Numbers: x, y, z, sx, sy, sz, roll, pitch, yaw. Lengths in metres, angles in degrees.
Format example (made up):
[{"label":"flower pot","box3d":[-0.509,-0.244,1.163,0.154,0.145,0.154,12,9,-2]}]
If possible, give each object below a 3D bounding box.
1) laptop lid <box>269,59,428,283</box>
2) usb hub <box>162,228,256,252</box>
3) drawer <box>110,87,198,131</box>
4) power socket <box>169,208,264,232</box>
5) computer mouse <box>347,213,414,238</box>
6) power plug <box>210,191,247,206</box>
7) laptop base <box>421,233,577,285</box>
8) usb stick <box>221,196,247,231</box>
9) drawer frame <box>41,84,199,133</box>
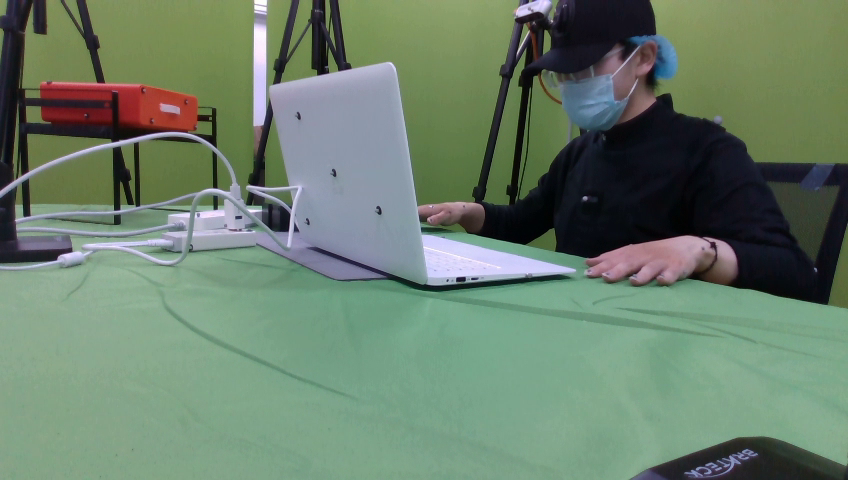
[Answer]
[{"label":"laptop lid","box3d":[-0.110,-0.087,0.752,0.013,0.241,0.355,-18,19,-30]},{"label":"usb hub","box3d":[-0.315,0.000,0.893,0.049,0.025,0.126,9,10,41]},{"label":"drawer","box3d":[-0.602,-0.263,1.225,0.211,0.073,0.195,3,8,10]},{"label":"power socket","box3d":[-0.381,-0.038,1.128,0.072,0.032,0.227,4,8,17]},{"label":"computer mouse","box3d":[-0.079,-0.025,1.080,0.117,0.041,0.062,-5,11,-18]},{"label":"power plug","box3d":[-0.386,-0.071,1.204,0.072,0.052,0.035,8,11,25]},{"label":"laptop base","box3d":[0.007,0.022,0.850,0.237,0.023,0.352,1,7,-34]},{"label":"usb stick","box3d":[-0.290,-0.035,0.920,0.027,0.059,0.021,14,3,32]},{"label":"drawer frame","box3d":[-0.604,-0.264,1.225,0.213,0.082,0.202,3,8,8]}]
